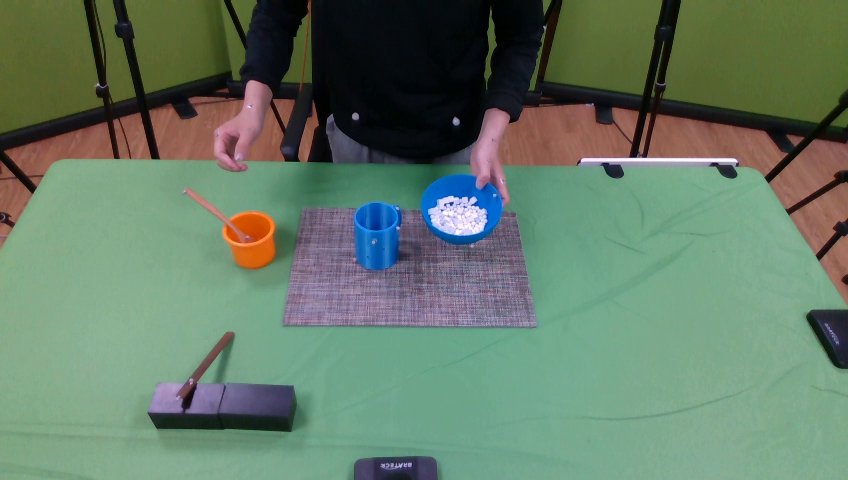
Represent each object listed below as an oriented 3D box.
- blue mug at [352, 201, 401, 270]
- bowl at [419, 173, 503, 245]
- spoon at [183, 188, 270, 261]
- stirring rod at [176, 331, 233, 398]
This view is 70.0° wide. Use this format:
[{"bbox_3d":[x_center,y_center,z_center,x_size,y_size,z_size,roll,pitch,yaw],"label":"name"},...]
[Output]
[{"bbox_3d":[-0.082,-0.017,1.144,0.082,0.106,0.116,30,51,22],"label":"blue mug"},{"bbox_3d":[0.066,-0.044,1.124,0.151,0.077,0.150,0,53,1],"label":"bowl"},{"bbox_3d":[-0.360,-0.029,1.110,0.021,0.194,0.041,-22,30,40],"label":"spoon"},{"bbox_3d":[-0.342,0.192,0.955,0.014,0.006,0.175,3,24,7],"label":"stirring rod"}]
